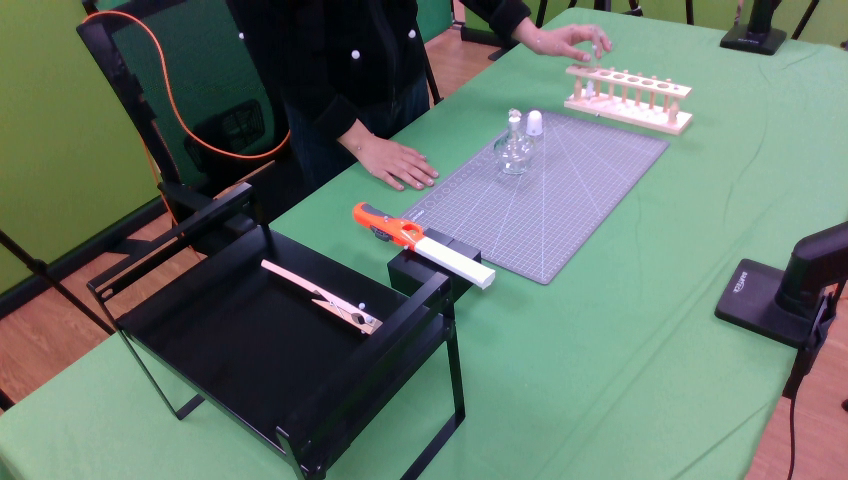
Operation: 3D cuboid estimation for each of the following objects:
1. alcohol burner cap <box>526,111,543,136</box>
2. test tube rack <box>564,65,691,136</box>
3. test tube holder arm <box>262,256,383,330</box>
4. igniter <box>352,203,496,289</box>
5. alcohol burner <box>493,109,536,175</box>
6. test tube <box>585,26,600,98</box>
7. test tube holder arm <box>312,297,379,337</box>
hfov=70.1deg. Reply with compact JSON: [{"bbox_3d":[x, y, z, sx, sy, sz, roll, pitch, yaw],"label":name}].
[{"bbox_3d":[0.219,-0.232,1.196,0.034,0.048,0.033,-4,41,4],"label":"alcohol burner cap"},{"bbox_3d":[0.404,-0.288,1.204,0.240,0.085,0.067,24,50,32],"label":"test tube rack"},{"bbox_3d":[-0.113,0.054,0.647,0.177,0.015,0.013,26,81,33],"label":"test tube holder arm"},{"bbox_3d":[-0.011,0.002,0.899,0.274,0.025,0.057,27,46,33],"label":"igniter"},{"bbox_3d":[0.163,-0.179,1.087,0.078,0.119,0.077,-5,38,4],"label":"alcohol burner"},{"bbox_3d":[0.331,-0.348,1.193,0.017,0.151,0.017,-3,43,4],"label":"test tube"},{"bbox_3d":[-0.082,0.075,0.622,0.087,0.015,0.010,27,81,33],"label":"test tube holder arm"}]
